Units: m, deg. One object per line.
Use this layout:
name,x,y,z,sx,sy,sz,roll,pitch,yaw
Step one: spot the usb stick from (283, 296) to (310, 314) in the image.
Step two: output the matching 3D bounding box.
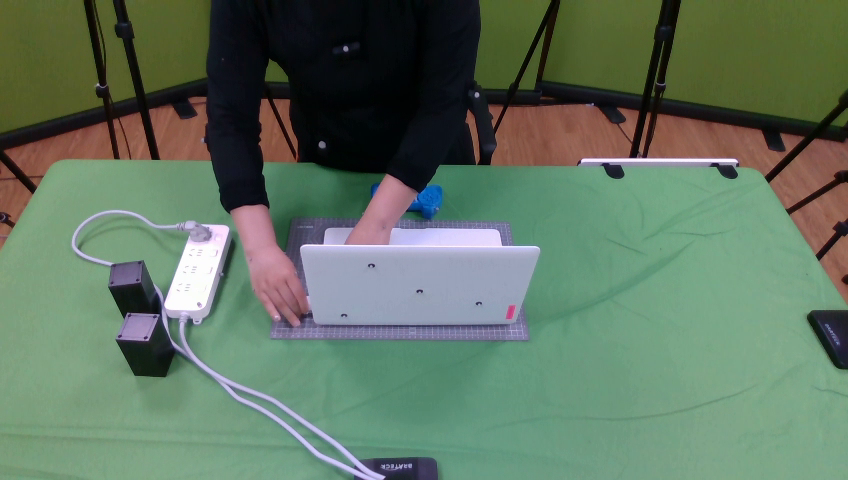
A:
usb stick,-0.214,0.114,1.062,0.059,0.027,0.021,3,43,7

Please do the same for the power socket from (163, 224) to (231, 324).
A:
power socket,-0.411,0.053,1.106,0.072,0.033,0.225,3,46,-3

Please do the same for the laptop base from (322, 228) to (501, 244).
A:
laptop base,-0.020,0.065,1.136,0.354,0.023,0.234,0,43,-3

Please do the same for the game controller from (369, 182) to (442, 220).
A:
game controller,-0.039,-0.091,1.267,0.155,0.052,0.096,2,50,-2

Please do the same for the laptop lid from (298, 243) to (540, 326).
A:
laptop lid,-0.010,0.077,0.958,0.357,0.243,0.013,1,53,-5

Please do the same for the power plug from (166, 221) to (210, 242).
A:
power plug,-0.440,-0.015,1.144,0.072,0.053,0.035,7,46,9
